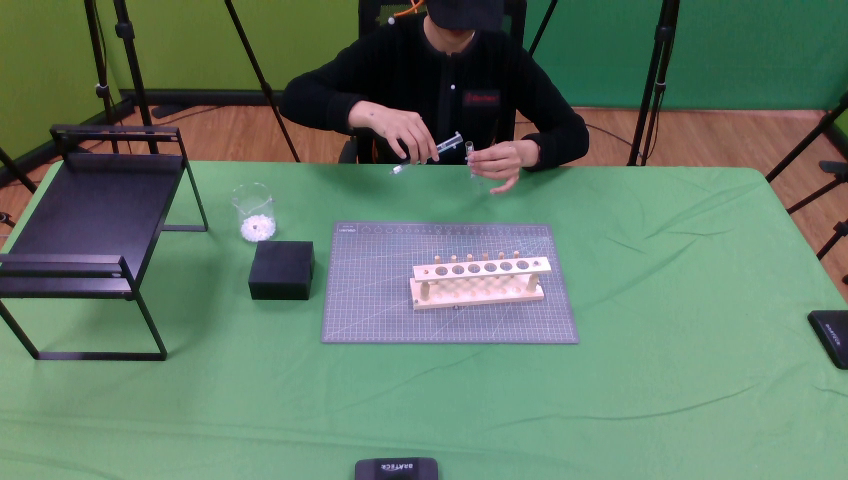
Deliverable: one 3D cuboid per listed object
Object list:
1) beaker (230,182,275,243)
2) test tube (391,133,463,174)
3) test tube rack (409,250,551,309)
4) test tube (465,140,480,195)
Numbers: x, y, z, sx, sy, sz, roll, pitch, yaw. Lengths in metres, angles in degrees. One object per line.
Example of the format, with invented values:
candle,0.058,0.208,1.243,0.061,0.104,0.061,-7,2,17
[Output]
beaker,-0.328,-0.049,1.166,0.074,0.101,0.083,2,47,-2
test tube,0.005,-0.165,1.156,0.150,0.017,0.017,-26,49,5
test tube rack,0.098,0.065,1.096,0.243,0.085,0.066,-4,47,-8
test tube,0.098,-0.143,1.222,0.017,0.151,0.017,-6,52,8
